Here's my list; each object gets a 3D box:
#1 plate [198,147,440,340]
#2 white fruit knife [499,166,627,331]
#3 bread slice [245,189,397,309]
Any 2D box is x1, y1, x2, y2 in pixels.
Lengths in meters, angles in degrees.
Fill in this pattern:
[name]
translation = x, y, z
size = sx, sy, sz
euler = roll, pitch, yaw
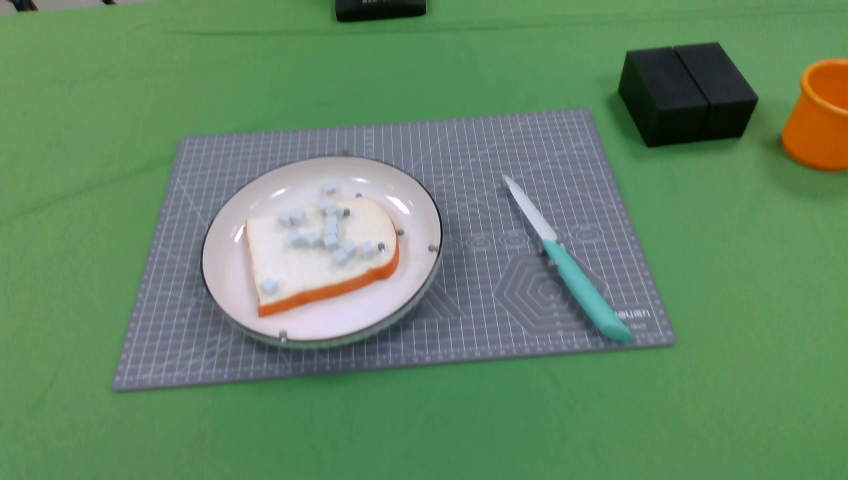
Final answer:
[plate]
translation = -0.089, 0.001, 0.534
size = 0.209, 0.038, 0.207
euler = -1, 52, 1
[white fruit knife]
translation = 0.115, -0.001, 0.544
size = 0.027, 0.016, 0.205
euler = 4, 42, -34
[bread slice]
translation = -0.091, -0.002, 0.539
size = 0.132, 0.019, 0.103
euler = -17, 53, -10
